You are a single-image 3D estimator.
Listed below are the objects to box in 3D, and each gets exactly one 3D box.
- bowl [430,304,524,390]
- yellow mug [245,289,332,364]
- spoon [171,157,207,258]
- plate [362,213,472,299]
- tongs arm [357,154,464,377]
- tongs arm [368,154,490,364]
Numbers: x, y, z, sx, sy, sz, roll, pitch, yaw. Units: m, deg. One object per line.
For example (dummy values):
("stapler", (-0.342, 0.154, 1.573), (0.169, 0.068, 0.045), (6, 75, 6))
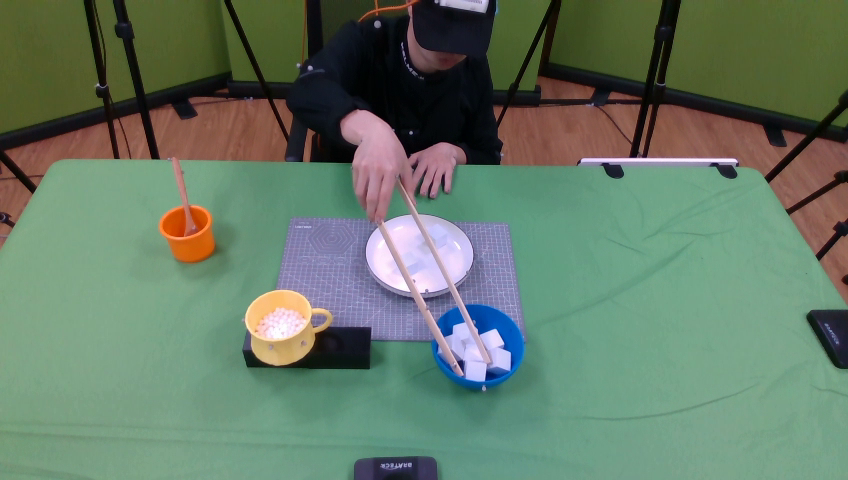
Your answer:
("bowl", (0.082, 0.186, 0.986), (0.151, 0.077, 0.150), (3, 47, -3))
("yellow mug", (-0.210, 0.132, 0.954), (0.131, 0.064, 0.099), (-9, 48, -14))
("spoon", (-0.444, -0.061, 1.133), (0.042, 0.194, 0.021), (-12, 4, -20))
("plate", (-0.013, 0.034, 1.150), (0.208, 0.039, 0.206), (3, 46, -2))
("tongs arm", (-0.019, 0.036, 0.965), (0.051, 0.026, 0.383), (-26, 79, -21))
("tongs arm", (0.008, 0.025, 0.977), (0.028, 0.028, 0.386), (-25, 79, -17))
